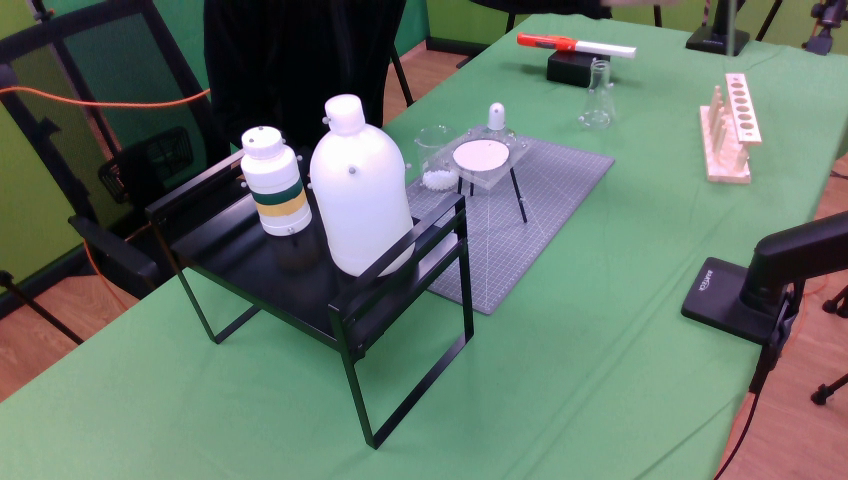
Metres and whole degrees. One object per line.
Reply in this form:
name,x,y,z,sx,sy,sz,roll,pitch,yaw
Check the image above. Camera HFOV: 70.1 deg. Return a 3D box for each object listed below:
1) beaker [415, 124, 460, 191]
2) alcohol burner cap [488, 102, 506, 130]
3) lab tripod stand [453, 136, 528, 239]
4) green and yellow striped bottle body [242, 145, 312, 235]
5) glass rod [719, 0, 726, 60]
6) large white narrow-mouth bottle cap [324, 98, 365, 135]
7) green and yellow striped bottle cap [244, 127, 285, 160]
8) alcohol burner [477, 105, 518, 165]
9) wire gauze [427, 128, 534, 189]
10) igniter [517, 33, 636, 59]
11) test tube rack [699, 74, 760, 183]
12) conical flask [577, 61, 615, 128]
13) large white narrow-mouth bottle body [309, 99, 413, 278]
beaker,0.027,-0.147,1.081,0.073,0.100,0.084,12,43,21
alcohol burner cap,0.133,-0.227,1.093,0.034,0.048,0.033,-2,48,2
lab tripod stand,0.095,-0.086,0.974,0.148,0.132,0.147,-4,43,4
green and yellow striped bottle body,-0.179,-0.069,0.730,0.063,0.120,0.063,-4,41,4
glass rod,0.441,-0.355,0.889,0.008,0.201,0.008,-12,41,11
large white narrow-mouth bottle cap,-0.076,-0.120,0.585,0.038,0.024,0.037,-3,42,3
green and yellow striped bottle cap,-0.183,-0.111,0.694,0.045,0.020,0.045,-1,42,1
alcohol burner,0.135,-0.199,1.117,0.078,0.119,0.077,-4,43,4
wire gauze,0.086,-0.131,0.924,0.124,0.011,0.122,26,52,33
igniter,0.336,-0.441,1.368,0.275,0.025,0.057,17,41,24
test tube rack,0.547,-0.208,1.095,0.066,0.085,0.242,6,42,16
conical flask,0.343,-0.288,1.188,0.075,0.122,0.075,-4,41,4
large white narrow-mouth bottle body,-0.068,-0.057,0.644,0.102,0.195,0.101,-3,42,3
